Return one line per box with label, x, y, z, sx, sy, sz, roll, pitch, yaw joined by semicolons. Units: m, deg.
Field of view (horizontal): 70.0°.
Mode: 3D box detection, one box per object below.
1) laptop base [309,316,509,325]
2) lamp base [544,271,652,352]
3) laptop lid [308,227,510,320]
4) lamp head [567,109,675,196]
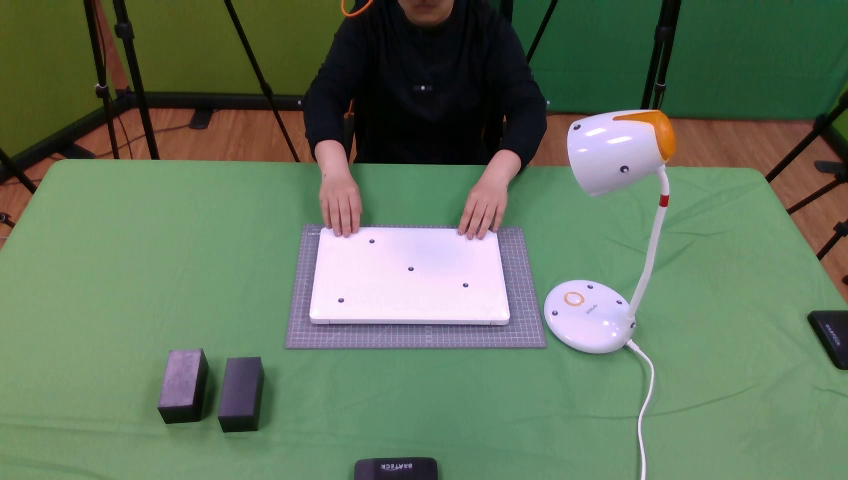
laptop base;-0.028;0.066;1.134;0.355;0.023;0.234;1;43;-4
lamp base;0.310;0.086;1.029;0.178;0.181;0.160;32;52;21
laptop lid;-0.027;0.056;1.128;0.357;0.013;0.240;2;43;-3
lamp head;0.272;-0.123;0.818;0.122;0.113;0.112;-9;35;37
